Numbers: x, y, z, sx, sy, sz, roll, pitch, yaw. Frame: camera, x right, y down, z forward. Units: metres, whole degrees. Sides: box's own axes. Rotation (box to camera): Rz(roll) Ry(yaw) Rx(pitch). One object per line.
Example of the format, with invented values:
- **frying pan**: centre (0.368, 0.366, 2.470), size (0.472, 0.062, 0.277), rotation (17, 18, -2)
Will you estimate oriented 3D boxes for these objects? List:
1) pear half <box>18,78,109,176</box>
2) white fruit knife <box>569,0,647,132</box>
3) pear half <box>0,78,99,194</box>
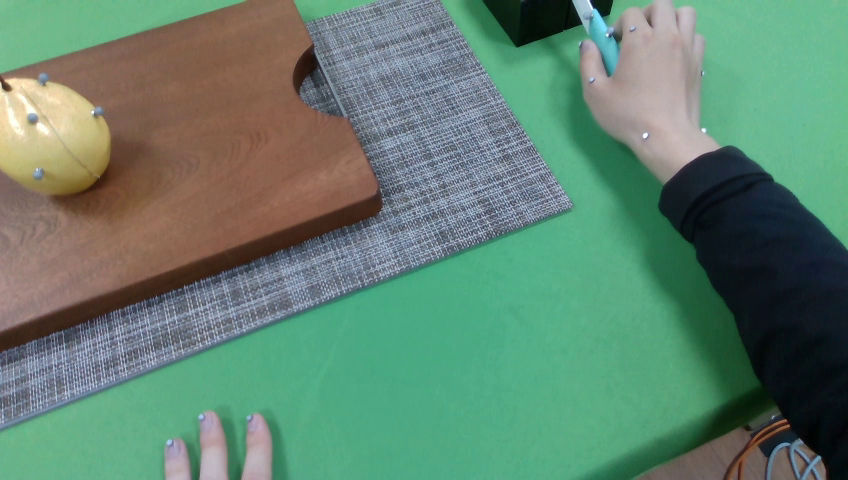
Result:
- **pear half**: centre (-0.259, -0.090, 0.450), size (0.031, 0.089, 0.070), rotation (-35, 60, -17)
- **white fruit knife**: centre (0.144, -0.189, 0.527), size (0.016, 0.027, 0.206), rotation (-18, 75, -12)
- **pear half**: centre (-0.289, -0.077, 0.433), size (0.056, 0.111, 0.075), rotation (-36, 60, -17)
